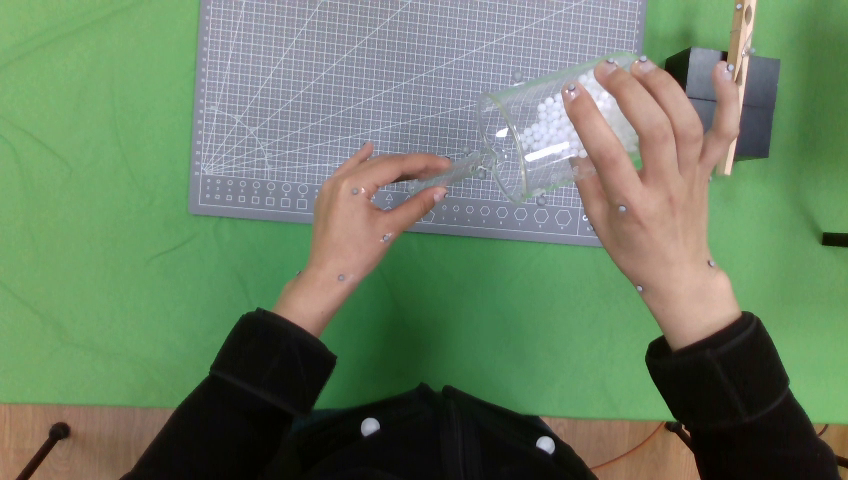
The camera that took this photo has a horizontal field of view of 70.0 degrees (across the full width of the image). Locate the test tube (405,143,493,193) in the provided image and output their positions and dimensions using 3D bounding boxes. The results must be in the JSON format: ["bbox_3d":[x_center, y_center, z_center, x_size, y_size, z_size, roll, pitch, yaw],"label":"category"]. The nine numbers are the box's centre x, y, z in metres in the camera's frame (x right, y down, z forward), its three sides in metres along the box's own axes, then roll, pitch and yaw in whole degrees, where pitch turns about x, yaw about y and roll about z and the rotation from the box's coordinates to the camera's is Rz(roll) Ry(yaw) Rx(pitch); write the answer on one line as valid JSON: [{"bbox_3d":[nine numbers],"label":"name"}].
[{"bbox_3d":[0.015,-0.056,0.490,0.017,0.149,0.017,1,86,-22],"label":"test tube"}]

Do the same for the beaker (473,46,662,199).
[{"bbox_3d":[0.091,-0.077,0.391,0.100,0.084,0.074,-19,92,-7],"label":"beaker"}]

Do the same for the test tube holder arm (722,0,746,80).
[{"bbox_3d":[0.308,-0.203,0.601,0.010,0.015,0.088,3,94,-16],"label":"test tube holder arm"}]

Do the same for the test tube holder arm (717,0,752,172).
[{"bbox_3d":[0.311,-0.158,0.606,0.013,0.015,0.178,2,95,-16],"label":"test tube holder arm"}]
